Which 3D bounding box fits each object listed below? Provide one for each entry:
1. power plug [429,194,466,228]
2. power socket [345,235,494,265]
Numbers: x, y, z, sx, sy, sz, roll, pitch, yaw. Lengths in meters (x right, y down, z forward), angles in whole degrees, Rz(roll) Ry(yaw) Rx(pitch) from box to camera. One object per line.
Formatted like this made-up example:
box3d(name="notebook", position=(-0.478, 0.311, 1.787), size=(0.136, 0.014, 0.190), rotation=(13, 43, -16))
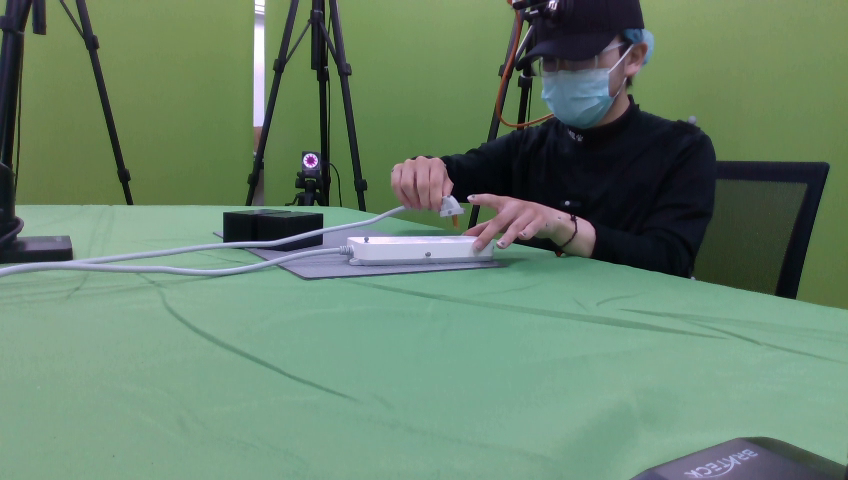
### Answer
box3d(name="power plug", position=(0.037, -0.042, 0.909), size=(0.035, 0.052, 0.072), rotation=(-8, 0, -18))
box3d(name="power socket", position=(-0.003, 0.011, 0.851), size=(0.228, 0.032, 0.072), rotation=(-1, 7, -26))
